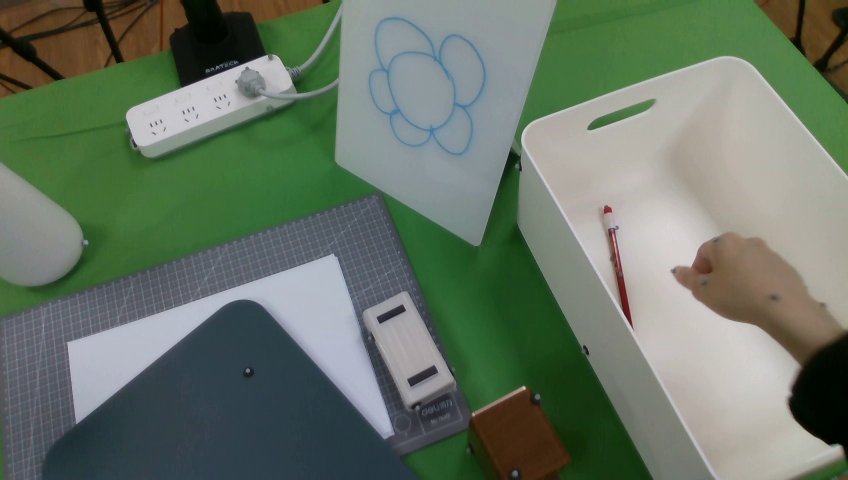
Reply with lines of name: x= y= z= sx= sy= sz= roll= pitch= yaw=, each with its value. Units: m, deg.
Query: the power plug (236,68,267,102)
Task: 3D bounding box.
power plug: x=-0.215 y=-0.184 z=0.763 sx=0.035 sy=0.053 sz=0.072 roll=-16 pitch=64 yaw=-6

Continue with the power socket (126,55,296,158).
power socket: x=-0.273 y=-0.174 z=0.786 sx=0.227 sy=0.033 sz=0.071 roll=-25 pitch=65 yaw=-11

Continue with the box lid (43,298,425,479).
box lid: x=-0.163 y=0.247 z=0.573 sx=0.263 sy=0.015 sz=0.369 roll=-42 pitch=69 yaw=-18

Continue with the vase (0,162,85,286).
vase: x=-0.443 y=-0.030 z=0.622 sx=0.098 sy=0.201 sz=0.097 roll=-1 pitch=62 yaw=3

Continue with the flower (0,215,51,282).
flower: x=-0.446 y=-0.085 z=0.559 sx=0.038 sy=0.365 sz=0.043 roll=-31 pitch=47 yaw=-21

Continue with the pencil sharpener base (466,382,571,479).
pencil sharpener base: x=0.082 y=0.185 z=0.543 sx=0.061 sy=0.108 sz=0.076 roll=-24 pitch=64 yaw=-11

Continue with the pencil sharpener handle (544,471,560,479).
pencil sharpener handle: x=0.107 y=0.218 z=0.511 sx=0.036 sy=0.068 sz=0.030 roll=-29 pitch=65 yaw=0

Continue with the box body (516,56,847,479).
box body: x=0.269 y=0.031 z=0.585 sx=0.254 sy=0.161 sz=0.360 roll=-20 pitch=63 yaw=-8

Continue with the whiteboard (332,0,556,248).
whiteboard: x=0.034 y=-0.183 z=0.660 sx=0.216 sy=0.308 sz=0.143 roll=32 pitch=49 yaw=18

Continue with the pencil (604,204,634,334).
pencil: x=0.215 y=0.046 z=0.661 sx=0.012 sy=0.012 sz=0.192 roll=-2 pitch=65 yaw=1

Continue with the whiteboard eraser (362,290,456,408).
whiteboard eraser: x=-0.017 y=0.110 z=0.620 sx=0.055 sy=0.042 sz=0.111 roll=-24 pitch=64 yaw=-13
